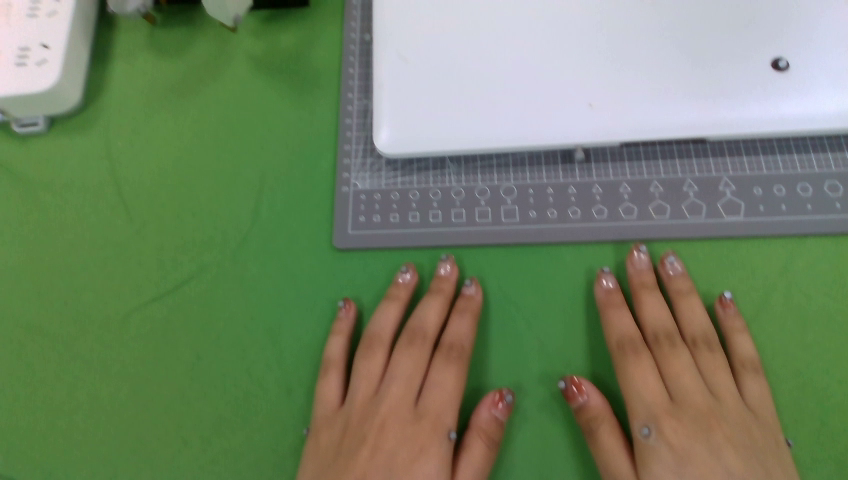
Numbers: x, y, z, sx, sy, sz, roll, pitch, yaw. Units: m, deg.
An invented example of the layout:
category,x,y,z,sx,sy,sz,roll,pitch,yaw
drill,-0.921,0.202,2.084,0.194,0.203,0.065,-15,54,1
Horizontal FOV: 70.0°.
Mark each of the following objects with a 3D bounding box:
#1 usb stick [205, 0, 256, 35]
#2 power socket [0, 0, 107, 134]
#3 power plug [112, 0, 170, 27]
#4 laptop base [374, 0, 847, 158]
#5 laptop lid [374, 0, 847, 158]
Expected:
category,x,y,z,sx,sy,sz,roll,pitch,yaw
usb stick,-0.125,-0.157,0.388,0.021,0.059,0.027,29,70,5
power socket,-0.274,-0.182,0.446,0.072,0.033,0.225,-4,67,2
power plug,-0.190,-0.186,0.416,0.035,0.053,0.072,24,87,20
laptop base,0.143,-0.164,0.412,0.354,0.023,0.234,-3,71,3
laptop lid,0.142,-0.167,0.401,0.356,0.013,0.240,-1,70,4
